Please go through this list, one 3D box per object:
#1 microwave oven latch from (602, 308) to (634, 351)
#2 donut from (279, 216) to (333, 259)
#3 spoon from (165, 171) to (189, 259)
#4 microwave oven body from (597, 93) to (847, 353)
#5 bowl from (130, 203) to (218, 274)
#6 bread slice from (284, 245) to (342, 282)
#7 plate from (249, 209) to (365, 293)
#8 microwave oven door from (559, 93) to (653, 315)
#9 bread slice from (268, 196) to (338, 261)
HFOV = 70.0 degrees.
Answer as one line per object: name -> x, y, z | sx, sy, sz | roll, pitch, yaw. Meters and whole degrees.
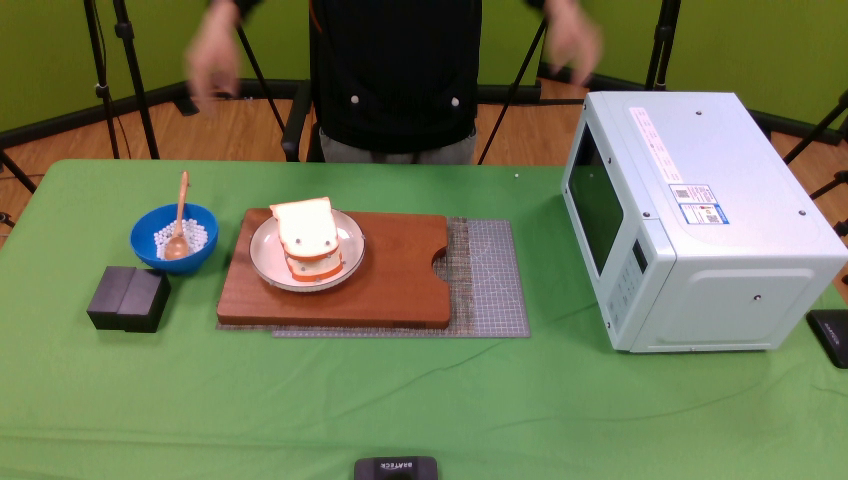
microwave oven latch -> 0.332, 0.153, 1.044 | 0.030, 0.029, 0.078 | -1, 45, -4
donut -> -0.213, -0.005, 1.097 | 0.099, 0.048, 0.098 | -2, 41, 2
spoon -> -0.452, -0.046, 1.129 | 0.041, 0.022, 0.193 | -1, 69, -2
microwave oven body -> 0.475, -0.041, 1.110 | 0.326, 0.261, 0.438 | -1, 45, -4
bowl -> -0.450, 0.010, 1.116 | 0.151, 0.077, 0.150 | 3, 45, -2
bread slice -> -0.205, 0.024, 1.115 | 0.105, 0.019, 0.130 | -13, 46, -14
plate -> -0.212, 0.021, 1.113 | 0.208, 0.039, 0.206 | 3, 45, -2
microwave oven door -> 0.327, -0.074, 1.123 | 0.039, 0.245, 0.353 | -1, 46, -5
bread slice -> -0.207, -0.020, 1.071 | 0.107, 0.018, 0.133 | -14, 55, -18
